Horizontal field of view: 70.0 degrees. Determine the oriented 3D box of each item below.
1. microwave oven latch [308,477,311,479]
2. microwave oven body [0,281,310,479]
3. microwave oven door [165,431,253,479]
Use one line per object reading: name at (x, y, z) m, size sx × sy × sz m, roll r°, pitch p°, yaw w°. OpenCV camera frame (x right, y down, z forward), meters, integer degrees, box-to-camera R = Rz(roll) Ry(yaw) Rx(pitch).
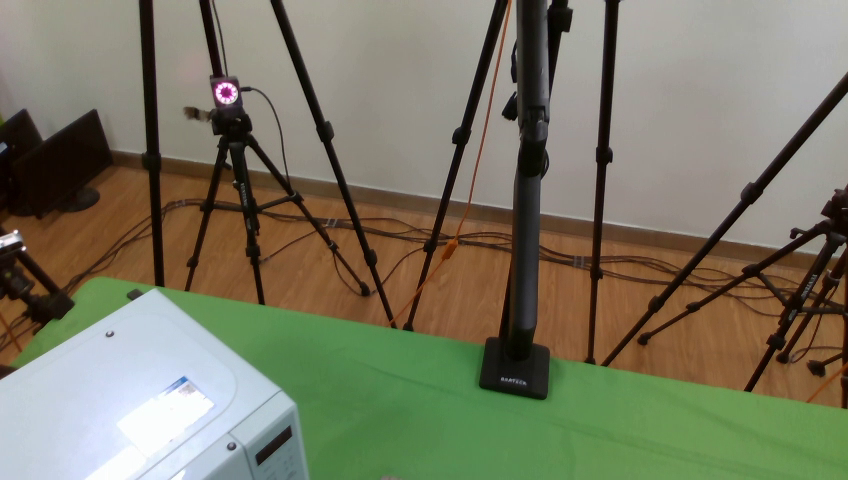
microwave oven latch at (-0.196, 0.365, 0.863) m, size 0.030 × 0.030 × 0.079 m, roll 32°, pitch 49°, yaw 28°
microwave oven body at (-0.420, 0.315, 0.758) m, size 0.323 × 0.262 × 0.441 m, roll 30°, pitch 48°, yaw 26°
microwave oven door at (-0.333, 0.395, 0.664) m, size 0.039 × 0.246 × 0.355 m, roll 29°, pitch 48°, yaw 27°
